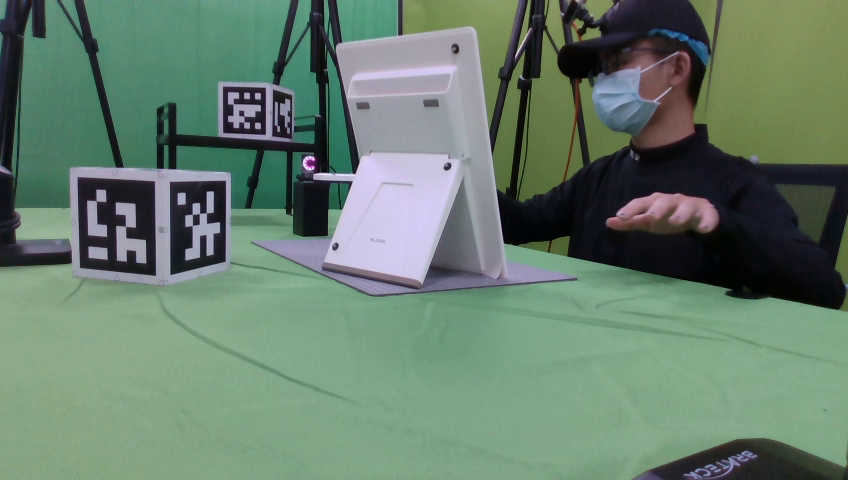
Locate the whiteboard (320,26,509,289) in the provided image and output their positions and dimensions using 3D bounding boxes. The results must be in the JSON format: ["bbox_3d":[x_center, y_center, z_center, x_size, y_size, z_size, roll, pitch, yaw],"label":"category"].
[{"bbox_3d":[-0.045,-0.076,0.721,0.216,0.305,0.144,9,29,39],"label":"whiteboard"}]

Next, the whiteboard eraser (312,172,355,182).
[{"bbox_3d":[-0.165,-0.121,1.155,0.102,0.019,0.041,-2,7,-34],"label":"whiteboard eraser"}]
